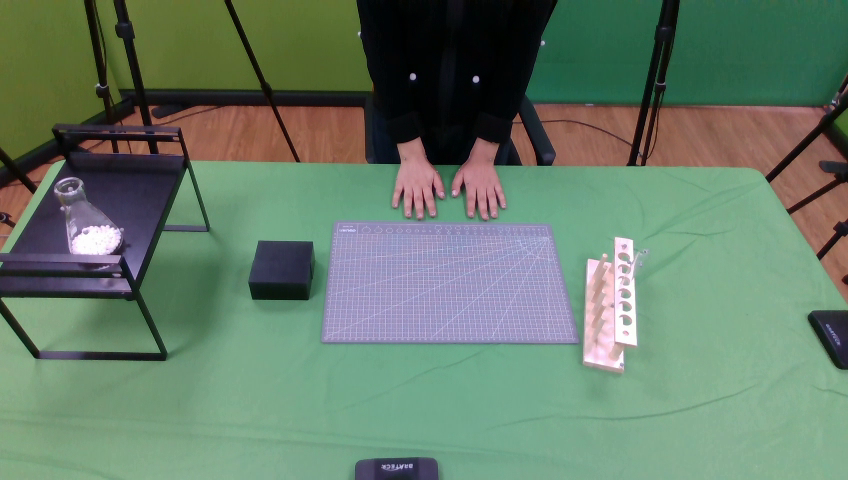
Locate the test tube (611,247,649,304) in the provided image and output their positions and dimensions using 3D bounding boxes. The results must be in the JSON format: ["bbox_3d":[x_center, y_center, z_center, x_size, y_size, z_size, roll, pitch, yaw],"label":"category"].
[{"bbox_3d":[0.352,0.065,1.043,0.017,0.151,0.017,3,49,-4],"label":"test tube"}]

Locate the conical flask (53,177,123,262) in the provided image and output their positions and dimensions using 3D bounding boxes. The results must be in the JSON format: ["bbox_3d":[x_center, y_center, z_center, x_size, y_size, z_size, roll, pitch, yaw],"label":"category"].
[{"bbox_3d":[-0.490,-0.033,0.872,0.075,0.122,0.075,1,46,-1],"label":"conical flask"}]

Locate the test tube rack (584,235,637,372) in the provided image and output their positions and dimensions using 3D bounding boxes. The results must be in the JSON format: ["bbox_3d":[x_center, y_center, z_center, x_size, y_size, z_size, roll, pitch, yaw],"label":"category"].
[{"bbox_3d":[0.329,0.103,1.073,0.067,0.085,0.241,11,47,7],"label":"test tube rack"}]
